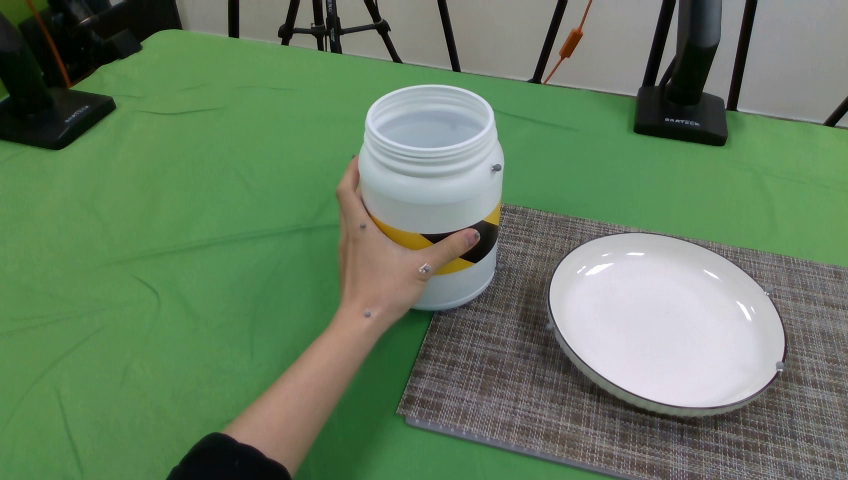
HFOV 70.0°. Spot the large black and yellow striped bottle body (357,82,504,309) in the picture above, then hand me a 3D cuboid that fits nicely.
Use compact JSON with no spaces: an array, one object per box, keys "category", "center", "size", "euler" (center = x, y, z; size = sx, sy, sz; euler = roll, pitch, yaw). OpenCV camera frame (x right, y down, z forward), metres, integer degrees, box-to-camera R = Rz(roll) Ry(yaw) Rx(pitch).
[{"category":"large black and yellow striped bottle body","center":[0.007,-0.040,0.568],"size":[0.131,0.185,0.129],"euler":[0,43,1]}]

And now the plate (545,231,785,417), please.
[{"category":"plate","center":[0.214,0.074,0.557],"size":[0.208,0.039,0.205],"euler":[1,43,0]}]
